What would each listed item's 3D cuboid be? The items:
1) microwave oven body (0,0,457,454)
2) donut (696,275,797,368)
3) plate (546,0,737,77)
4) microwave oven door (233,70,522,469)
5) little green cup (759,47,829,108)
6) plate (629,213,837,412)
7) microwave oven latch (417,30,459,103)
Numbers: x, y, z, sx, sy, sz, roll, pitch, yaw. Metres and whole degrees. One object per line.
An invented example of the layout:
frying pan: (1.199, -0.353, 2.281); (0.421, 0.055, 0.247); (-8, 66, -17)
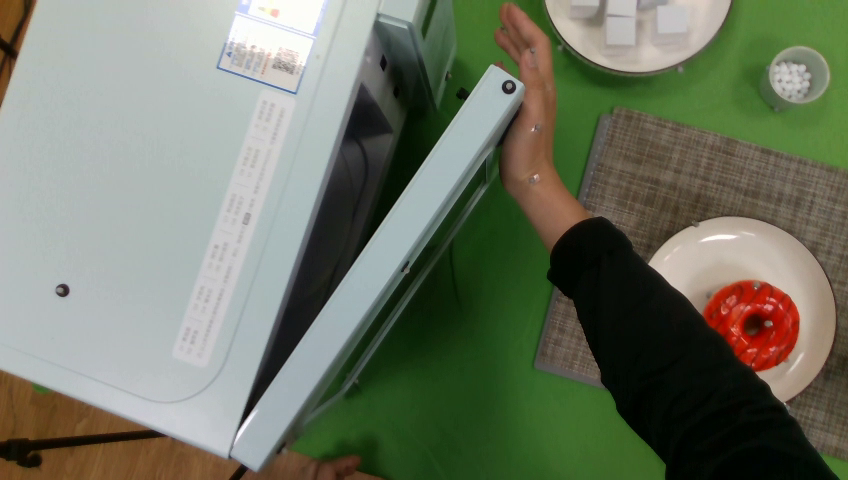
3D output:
microwave oven body: (-0.191, -0.080, 0.591); (0.325, 0.260, 0.441); (19, 90, 5)
donut: (0.339, 0.086, 0.638); (0.099, 0.048, 0.099); (0, 89, 6)
plate: (0.238, -0.282, 0.677); (0.207, 0.039, 0.207); (0, 87, 5)
microwave oven door: (-0.027, 0.028, 0.567); (0.039, 0.244, 0.355); (34, 91, 7)
little green cup: (0.399, -0.174, 0.659); (0.061, 0.039, 0.061); (0, 87, 5)
plate: (0.325, 0.076, 0.651); (0.209, 0.038, 0.209); (0, 88, 6)
microwave oven latch: (0.015, -0.196, 0.674); (0.030, 0.029, 0.079); (22, 90, 5)
